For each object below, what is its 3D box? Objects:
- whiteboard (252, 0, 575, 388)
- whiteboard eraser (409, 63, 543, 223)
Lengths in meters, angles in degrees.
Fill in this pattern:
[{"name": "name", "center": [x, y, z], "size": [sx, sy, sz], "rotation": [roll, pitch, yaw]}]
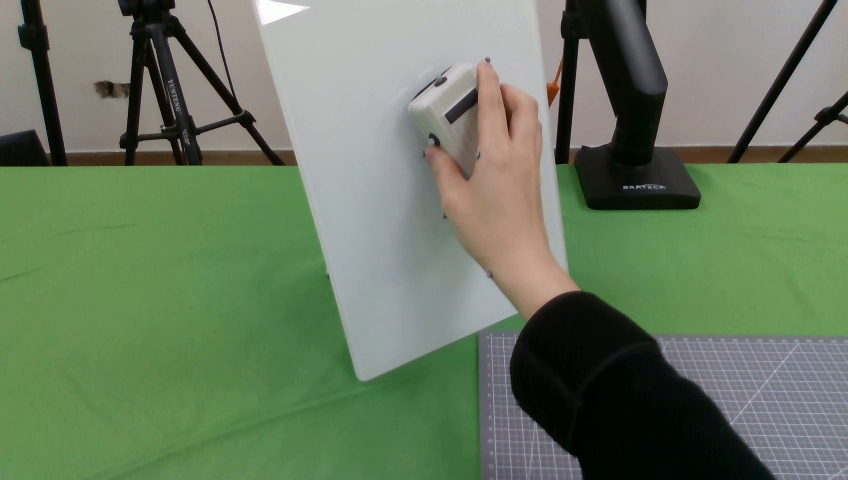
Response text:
[{"name": "whiteboard", "center": [-0.015, -0.073, 0.523], "size": [0.217, 0.307, 0.142], "rotation": [-20, 21, -21]}, {"name": "whiteboard eraser", "center": [0.039, -0.070, 0.453], "size": [0.055, 0.113, 0.041], "rotation": [-44, 26, -15]}]
